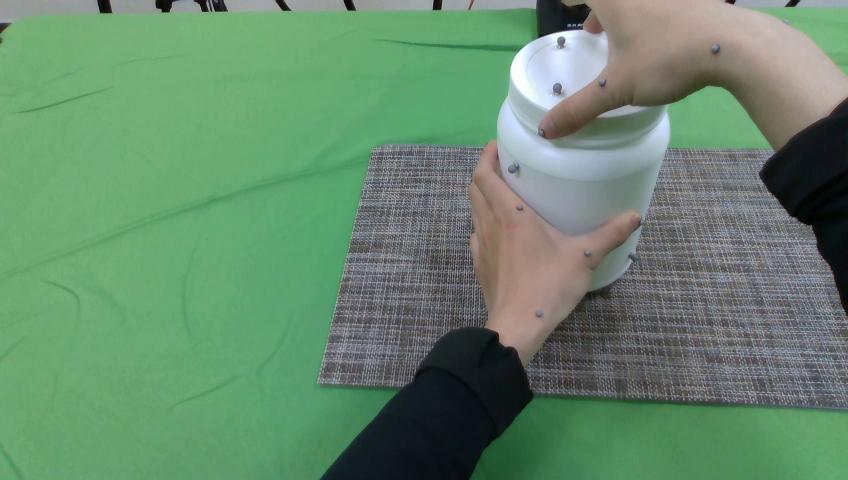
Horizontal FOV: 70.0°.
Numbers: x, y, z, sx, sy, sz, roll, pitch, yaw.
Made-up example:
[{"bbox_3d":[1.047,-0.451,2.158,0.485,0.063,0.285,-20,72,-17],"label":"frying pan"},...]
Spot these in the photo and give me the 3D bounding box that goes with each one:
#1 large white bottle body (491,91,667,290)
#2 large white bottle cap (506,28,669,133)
[{"bbox_3d":[0.122,-0.061,0.502,0.130,0.186,0.129,-2,48,2],"label":"large white bottle body"},{"bbox_3d":[0.117,-0.118,0.439,0.115,0.018,0.113,-1,48,2],"label":"large white bottle cap"}]
